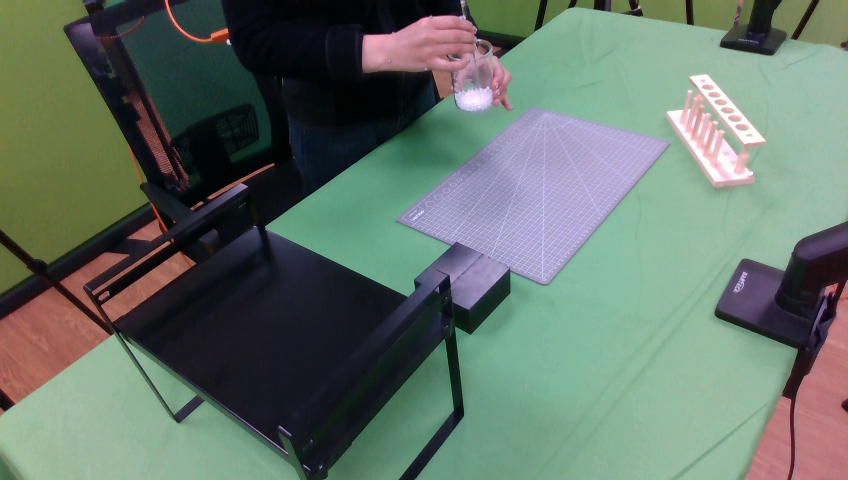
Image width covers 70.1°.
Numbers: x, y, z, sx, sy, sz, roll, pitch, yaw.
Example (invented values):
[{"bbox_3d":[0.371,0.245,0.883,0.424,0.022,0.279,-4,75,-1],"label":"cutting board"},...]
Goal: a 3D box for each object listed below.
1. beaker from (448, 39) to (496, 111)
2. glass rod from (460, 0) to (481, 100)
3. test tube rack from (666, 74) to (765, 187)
[{"bbox_3d":[0.081,-0.276,1.017,0.083,0.101,0.074,27,54,34],"label":"beaker"},{"bbox_3d":[0.074,-0.308,0.962,0.008,0.201,0.008,-8,45,9],"label":"glass rod"},{"bbox_3d":[0.512,-0.202,1.082,0.067,0.085,0.241,-5,41,2],"label":"test tube rack"}]
